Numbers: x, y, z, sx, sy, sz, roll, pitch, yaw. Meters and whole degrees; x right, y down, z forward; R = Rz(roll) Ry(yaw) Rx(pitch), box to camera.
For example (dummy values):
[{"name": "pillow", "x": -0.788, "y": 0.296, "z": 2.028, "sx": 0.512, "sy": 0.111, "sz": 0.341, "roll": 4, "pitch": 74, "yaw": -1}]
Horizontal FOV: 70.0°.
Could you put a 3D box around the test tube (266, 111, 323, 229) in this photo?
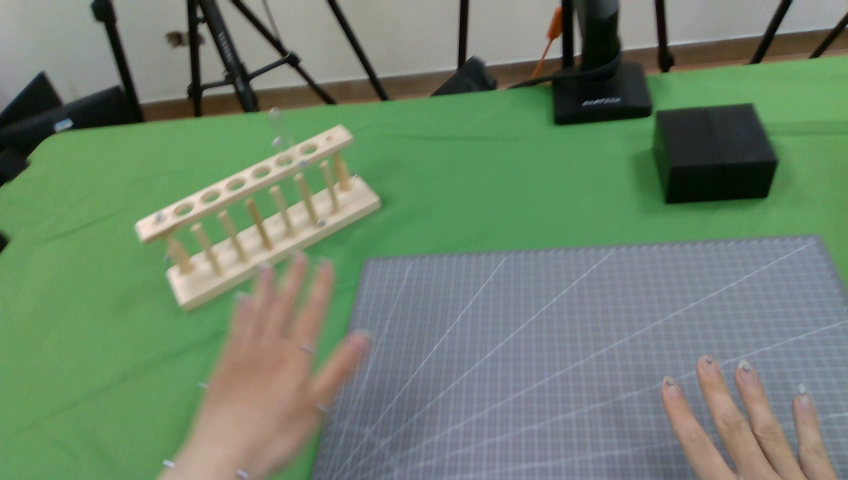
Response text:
[{"name": "test tube", "x": -0.137, "y": -0.071, "z": 0.646, "sx": 0.017, "sy": 0.152, "sz": 0.017, "roll": -8, "pitch": 42, "yaw": 7}]

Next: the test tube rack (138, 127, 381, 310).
[{"name": "test tube rack", "x": -0.175, "y": -0.028, "z": 0.676, "sx": 0.242, "sy": 0.086, "sz": 0.066, "roll": -30, "pitch": 46, "yaw": -16}]
